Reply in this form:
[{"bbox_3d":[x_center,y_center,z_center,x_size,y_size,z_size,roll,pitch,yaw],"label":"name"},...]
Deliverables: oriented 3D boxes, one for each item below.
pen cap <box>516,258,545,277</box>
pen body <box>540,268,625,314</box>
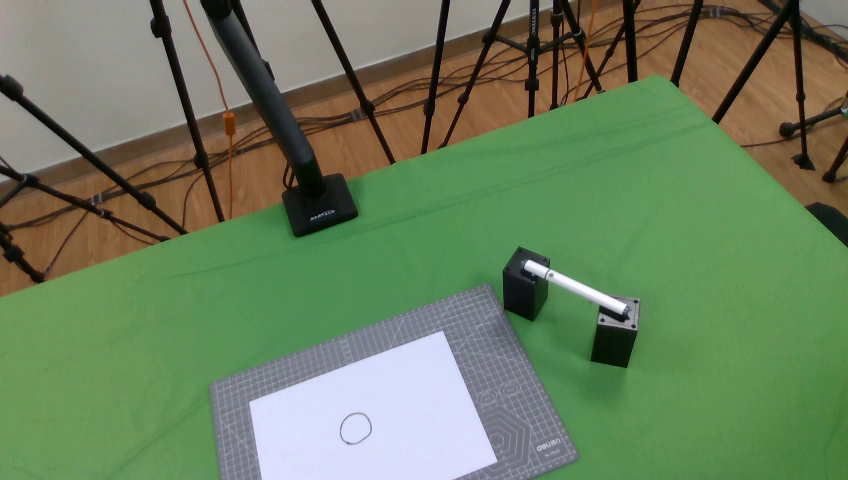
[{"bbox_3d":[0.147,0.037,0.838,0.038,0.017,0.017,23,58,26],"label":"pen cap"},{"bbox_3d":[0.198,0.062,0.811,0.143,0.017,0.017,25,59,25],"label":"pen body"}]
